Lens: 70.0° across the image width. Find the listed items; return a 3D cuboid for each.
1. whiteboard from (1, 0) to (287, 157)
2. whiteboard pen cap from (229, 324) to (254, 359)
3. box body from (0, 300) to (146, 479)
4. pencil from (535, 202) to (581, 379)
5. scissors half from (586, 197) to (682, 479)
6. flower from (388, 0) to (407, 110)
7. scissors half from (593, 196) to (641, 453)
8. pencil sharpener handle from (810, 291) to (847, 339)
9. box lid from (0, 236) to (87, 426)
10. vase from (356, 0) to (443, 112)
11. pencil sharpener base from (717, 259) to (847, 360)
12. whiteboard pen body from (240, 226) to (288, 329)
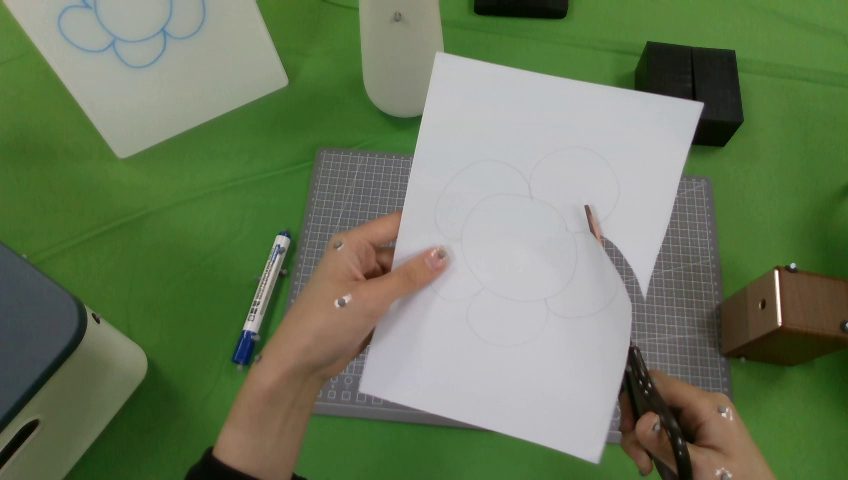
[{"bbox_3d":[-0.318,-0.286,0.647,0.217,0.308,0.142,-27,50,-10],"label":"whiteboard"},{"bbox_3d":[-0.180,0.100,0.603,0.018,0.018,0.033,11,62,6],"label":"whiteboard pen cap"},{"bbox_3d":[-0.472,0.093,0.533,0.362,0.161,0.253,30,71,12],"label":"box body"},{"bbox_3d":[0.140,0.048,0.629,0.012,0.012,0.192,-8,69,-3],"label":"pencil"},{"bbox_3d":[0.119,0.059,0.347,0.013,0.040,0.175,-17,90,-5],"label":"scissors half"},{"bbox_3d":[-0.035,-0.273,0.575,0.044,0.365,0.038,-2,49,3],"label":"flower"},{"bbox_3d":[0.117,0.055,0.368,0.013,0.039,0.176,-15,113,0],"label":"scissors half"},{"bbox_3d":[0.386,0.073,0.555,0.030,0.068,0.035,9,61,1],"label":"pencil sharpener handle"},{"bbox_3d":[-0.475,0.062,0.465,0.370,0.015,0.262,30,70,12],"label":"box lid"},{"bbox_3d":[-0.028,-0.227,0.646,0.098,0.201,0.097,-1,65,2],"label":"vase"},{"bbox_3d":[0.335,0.068,0.567,0.077,0.108,0.061,9,66,1],"label":"pencil sharpener base"},{"bbox_3d":[-0.169,0.048,0.628,0.017,0.017,0.140,11,66,6],"label":"whiteboard pen body"}]
